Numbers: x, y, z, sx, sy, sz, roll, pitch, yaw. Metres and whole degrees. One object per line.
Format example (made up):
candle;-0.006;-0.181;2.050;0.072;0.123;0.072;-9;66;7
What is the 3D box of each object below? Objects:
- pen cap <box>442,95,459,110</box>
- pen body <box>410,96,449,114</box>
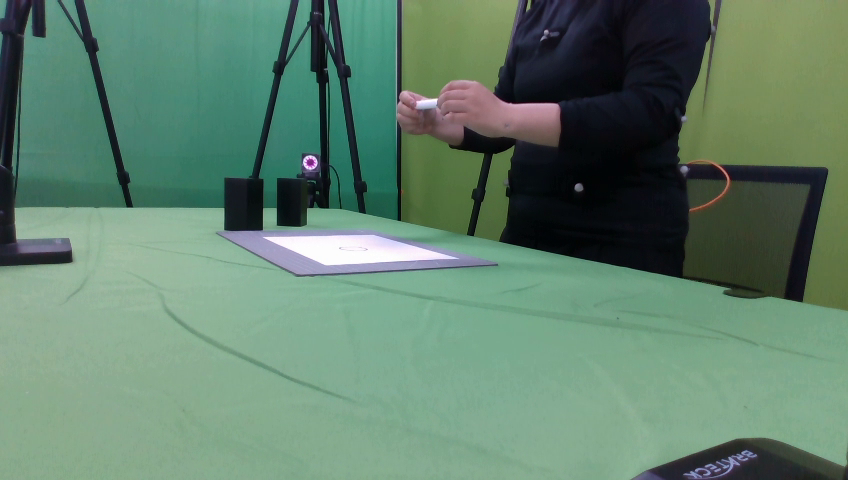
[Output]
pen cap;0.046;-0.237;1.039;0.017;0.017;0.038;-1;-6;-28
pen body;0.016;-0.245;1.093;0.017;0.017;0.143;-1;3;-31
